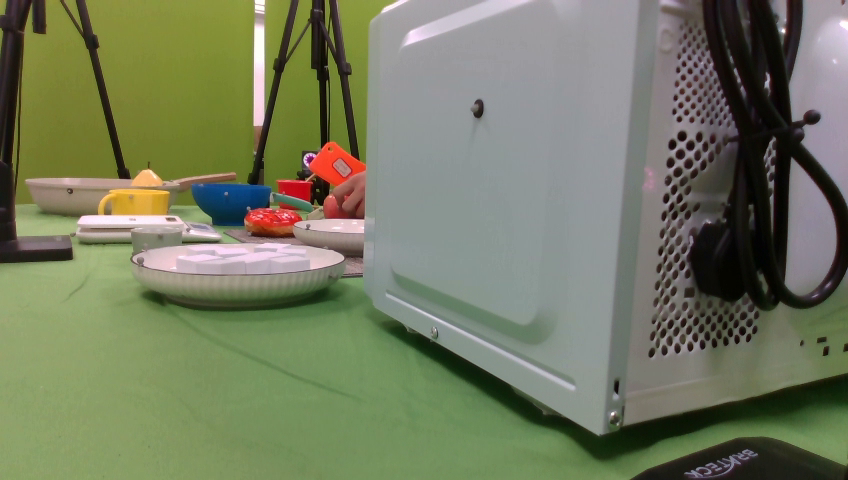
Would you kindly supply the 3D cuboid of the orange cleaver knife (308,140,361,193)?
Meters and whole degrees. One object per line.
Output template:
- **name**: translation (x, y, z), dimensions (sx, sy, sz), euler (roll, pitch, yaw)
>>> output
- **orange cleaver knife**: translation (-0.115, -0.120, 1.154), dimensions (0.212, 0.077, 0.012), euler (23, 11, -20)

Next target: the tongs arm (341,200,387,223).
- **tongs arm**: translation (-0.148, -0.070, 1.429), dimensions (0.051, 0.026, 0.383), euler (-3, 8, -14)

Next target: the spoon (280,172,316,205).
- **spoon**: translation (-0.316, -0.159, 1.640), dimensions (0.194, 0.022, 0.041), euler (-49, 32, -20)

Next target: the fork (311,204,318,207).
- **fork**: translation (-0.356, -0.105, 1.526), dimensions (0.208, 0.018, 0.028), euler (16, -6, -41)

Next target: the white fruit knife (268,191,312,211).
- **white fruit knife**: translation (-0.364, -0.105, 1.464), dimensions (0.208, 0.027, 0.016), euler (15, 0, -34)

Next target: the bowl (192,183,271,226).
- **bowl**: translation (-0.382, -0.071, 1.202), dimensions (0.151, 0.077, 0.151), euler (3, 7, 0)

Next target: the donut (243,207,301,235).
- **donut**: translation (-0.261, -0.032, 1.043), dimensions (0.099, 0.048, 0.099), euler (4, 9, 0)

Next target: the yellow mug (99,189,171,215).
- **yellow mug**: translation (-0.519, -0.055, 1.080), dimensions (0.099, 0.064, 0.131), euler (7, 9, 26)

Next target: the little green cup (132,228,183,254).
- **little green cup**: translation (-0.342, 0.006, 0.779), dimensions (0.061, 0.038, 0.061), euler (2, 8, 0)

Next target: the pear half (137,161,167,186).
- **pear half**: translation (-0.602, -0.120, 1.354), dimensions (0.056, 0.110, 0.076), euler (4, 11, 6)

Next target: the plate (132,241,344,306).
- **plate**: translation (-0.187, 0.033, 0.625), dimensions (0.208, 0.039, 0.207), euler (2, 8, 0)

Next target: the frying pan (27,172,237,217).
- **frying pan**: translation (-0.624, -0.118, 1.387), dimensions (0.305, 0.102, 0.490), euler (8, 17, 32)

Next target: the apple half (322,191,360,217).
- **apple half**: translation (-0.146, -0.052, 1.122), dimensions (0.081, 0.074, 0.053), euler (2, 16, -21)

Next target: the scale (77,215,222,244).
- **scale**: translation (-0.434, -0.019, 0.963), dimensions (0.202, 0.031, 0.148), euler (-1, 9, -27)

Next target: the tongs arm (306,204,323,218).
- **tongs arm**: translation (-0.234, -0.070, 1.415), dimensions (0.028, 0.028, 0.387), euler (-4, 7, 1)

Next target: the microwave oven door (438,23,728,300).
- **microwave oven door**: translation (0.181, -0.073, 0.621), dimensions (0.358, 0.243, 0.039), euler (-2, 8, -29)

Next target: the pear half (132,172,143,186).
- **pear half**: translation (-0.638, -0.113, 1.361), dimensions (0.031, 0.088, 0.070), euler (5, 10, 4)

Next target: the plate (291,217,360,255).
- **plate**: translation (-0.098, -0.007, 0.928), dimensions (0.209, 0.038, 0.209), euler (2, 8, 0)

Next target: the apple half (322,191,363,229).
- **apple half**: translation (-0.159, -0.060, 1.156), dimensions (0.081, 0.081, 0.032), euler (0, 15, -18)

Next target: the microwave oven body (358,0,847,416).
- **microwave oven body**: translation (0.211, -0.047, 0.474), dimensions (0.444, 0.260, 0.324), euler (-1, 7, -28)

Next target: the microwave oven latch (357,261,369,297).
- **microwave oven latch**: translation (-0.019, 0.033, 0.530), dimensions (0.079, 0.029, 0.030), euler (-1, 7, -27)
